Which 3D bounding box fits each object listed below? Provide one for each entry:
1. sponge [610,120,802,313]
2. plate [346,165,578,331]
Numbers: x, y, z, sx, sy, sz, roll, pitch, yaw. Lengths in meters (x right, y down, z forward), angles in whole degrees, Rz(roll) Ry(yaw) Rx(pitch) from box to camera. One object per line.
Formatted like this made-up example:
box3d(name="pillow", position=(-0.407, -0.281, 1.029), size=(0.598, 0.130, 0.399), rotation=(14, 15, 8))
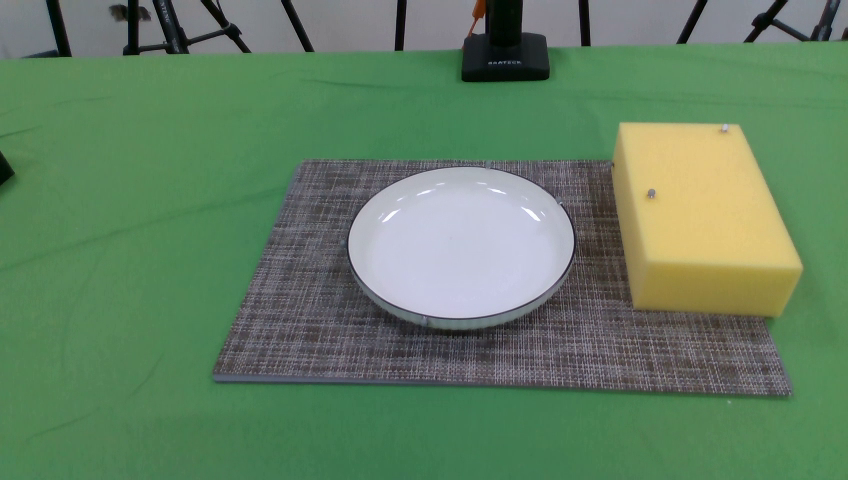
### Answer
box3d(name="sponge", position=(0.246, -0.031, 0.561), size=(0.118, 0.061, 0.205), rotation=(2, 43, 7))
box3d(name="plate", position=(0.034, 0.006, 0.558), size=(0.207, 0.039, 0.205), rotation=(-2, 43, 3))
